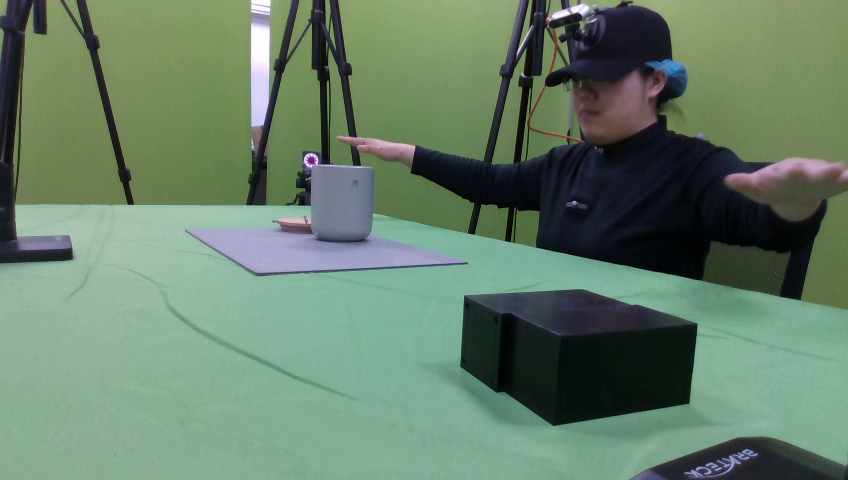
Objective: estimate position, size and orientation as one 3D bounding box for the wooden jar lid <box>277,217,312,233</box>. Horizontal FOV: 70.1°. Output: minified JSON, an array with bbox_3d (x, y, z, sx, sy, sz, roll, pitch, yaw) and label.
[{"bbox_3d":[-0.221,-0.028,1.138,0.108,0.020,0.108,2,8,0],"label":"wooden jar lid"}]

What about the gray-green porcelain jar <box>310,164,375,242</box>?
[{"bbox_3d":[-0.139,-0.064,1.025,0.106,0.126,0.106,3,8,0],"label":"gray-green porcelain jar"}]
